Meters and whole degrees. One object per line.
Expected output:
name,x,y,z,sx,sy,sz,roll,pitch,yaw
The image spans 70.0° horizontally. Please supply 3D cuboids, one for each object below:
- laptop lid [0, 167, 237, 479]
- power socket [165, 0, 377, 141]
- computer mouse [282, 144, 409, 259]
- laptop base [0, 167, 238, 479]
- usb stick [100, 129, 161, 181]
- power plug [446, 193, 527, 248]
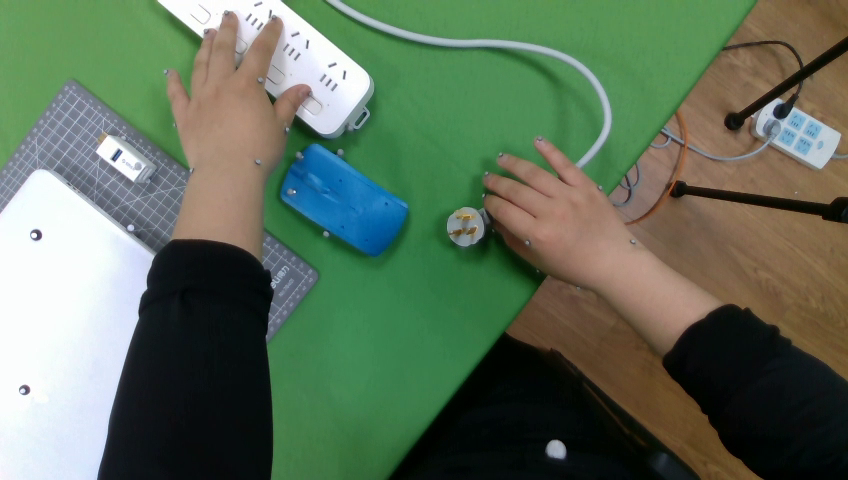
laptop lid,-0.372,0.137,0.572,0.242,0.013,0.356,41,93,-4
power socket,-0.140,-0.181,0.552,0.227,0.032,0.072,41,96,-1
computer mouse,-0.074,-0.036,0.559,0.117,0.041,0.063,35,96,4
laptop base,-0.374,0.135,0.583,0.236,0.023,0.354,40,93,-5
usb stick,-0.278,-0.081,0.562,0.059,0.027,0.021,41,96,0
power plug,0.050,-0.023,0.543,0.035,0.053,0.073,47,120,13
